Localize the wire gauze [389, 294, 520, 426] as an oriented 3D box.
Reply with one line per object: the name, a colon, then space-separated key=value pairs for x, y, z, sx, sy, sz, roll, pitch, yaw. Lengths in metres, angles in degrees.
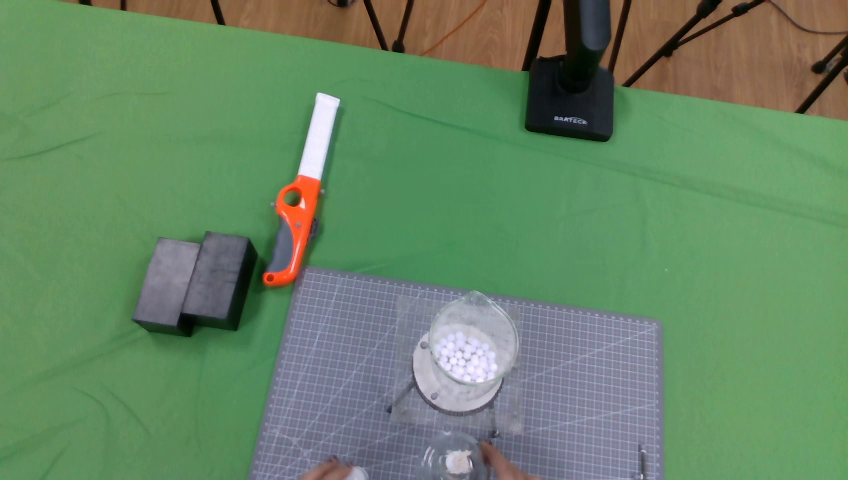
wire gauze: x=0.030 y=0.112 z=0.579 sx=0.125 sy=0.011 sz=0.120 roll=4 pitch=65 yaw=0

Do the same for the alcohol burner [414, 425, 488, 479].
alcohol burner: x=0.029 y=0.224 z=0.614 sx=0.078 sy=0.120 sz=0.077 roll=1 pitch=62 yaw=-2

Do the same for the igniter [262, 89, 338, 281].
igniter: x=-0.155 y=-0.074 z=0.774 sx=0.057 sy=0.025 sz=0.274 roll=16 pitch=67 yaw=-14

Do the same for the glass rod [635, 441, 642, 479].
glass rod: x=0.230 y=0.318 z=0.647 sx=0.008 sy=0.008 sz=0.198 roll=8 pitch=67 yaw=0

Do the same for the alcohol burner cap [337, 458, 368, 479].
alcohol burner cap: x=-0.076 y=0.247 z=0.638 sx=0.034 sy=0.048 sz=0.033 roll=1 pitch=68 yaw=-3

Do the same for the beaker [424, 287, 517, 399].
beaker: x=0.036 y=0.095 z=0.534 sx=0.074 sy=0.101 sz=0.083 roll=5 pitch=66 yaw=-1

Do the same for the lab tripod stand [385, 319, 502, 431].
lab tripod stand: x=0.027 y=0.139 z=0.639 sx=0.148 sy=0.132 sz=0.147 roll=1 pitch=66 yaw=-1
